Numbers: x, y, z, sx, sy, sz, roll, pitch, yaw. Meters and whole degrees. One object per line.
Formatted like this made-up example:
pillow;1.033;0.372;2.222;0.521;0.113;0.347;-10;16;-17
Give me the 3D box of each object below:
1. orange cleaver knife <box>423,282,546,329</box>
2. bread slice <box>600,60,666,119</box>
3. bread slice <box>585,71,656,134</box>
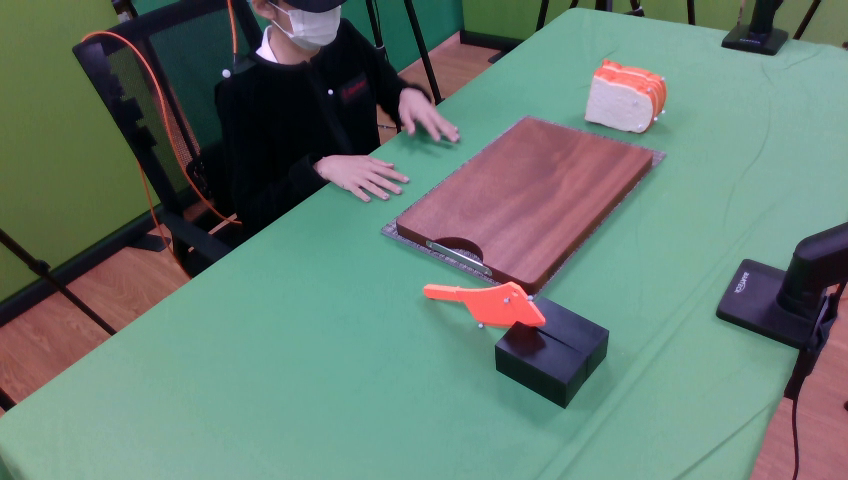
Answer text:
orange cleaver knife;0.075;0.087;0.814;0.012;0.077;0.210;-41;22;-31
bread slice;0.403;-0.285;1.186;0.133;0.107;0.018;23;55;21
bread slice;0.375;-0.257;1.156;0.130;0.105;0.019;25;53;25
